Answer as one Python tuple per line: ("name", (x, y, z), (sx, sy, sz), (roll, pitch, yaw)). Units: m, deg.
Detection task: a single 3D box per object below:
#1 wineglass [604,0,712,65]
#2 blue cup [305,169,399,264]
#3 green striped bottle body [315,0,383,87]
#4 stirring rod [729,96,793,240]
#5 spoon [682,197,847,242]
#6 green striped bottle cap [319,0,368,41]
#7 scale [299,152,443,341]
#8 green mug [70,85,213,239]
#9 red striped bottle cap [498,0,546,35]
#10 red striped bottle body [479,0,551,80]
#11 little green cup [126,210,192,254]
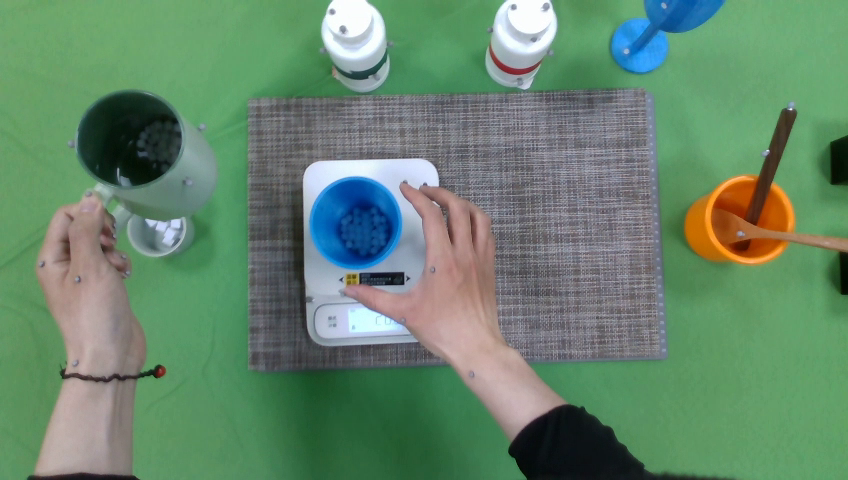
("wineglass", (0.238, -0.239, 0.609), (0.074, 0.172, 0.073), (0, 85, 0))
("blue cup", (-0.064, -0.018, 0.591), (0.092, 0.100, 0.092), (0, 87, 0))
("green striped bottle body", (-0.076, -0.208, 0.629), (0.063, 0.119, 0.063), (0, 86, -1))
("stirring rod", (0.337, -0.065, 0.610), (0.014, 0.178, 0.006), (6, 45, 14))
("spoon", (0.357, -0.014, 0.607), (0.022, 0.192, 0.041), (9, 93, -43))
("green striped bottle cap", (-0.076, -0.213, 0.574), (0.044, 0.020, 0.044), (0, 86, 0))
("scale", (-0.058, 0.006, 0.655), (0.149, 0.031, 0.200), (-3, 86, -1))
("green mug", (-0.237, -0.057, 0.497), (0.092, 0.105, 0.125), (31, 79, -4))
("red striped bottle cap", (0.094, -0.221, 0.579), (0.044, 0.018, 0.044), (0, 83, 0))
("red striped bottle body", (0.094, -0.217, 0.632), (0.063, 0.120, 0.063), (0, 86, -1))
("little green cup", (-0.282, -0.014, 0.653), (0.061, 0.038, 0.061), (0, 86, -2))
